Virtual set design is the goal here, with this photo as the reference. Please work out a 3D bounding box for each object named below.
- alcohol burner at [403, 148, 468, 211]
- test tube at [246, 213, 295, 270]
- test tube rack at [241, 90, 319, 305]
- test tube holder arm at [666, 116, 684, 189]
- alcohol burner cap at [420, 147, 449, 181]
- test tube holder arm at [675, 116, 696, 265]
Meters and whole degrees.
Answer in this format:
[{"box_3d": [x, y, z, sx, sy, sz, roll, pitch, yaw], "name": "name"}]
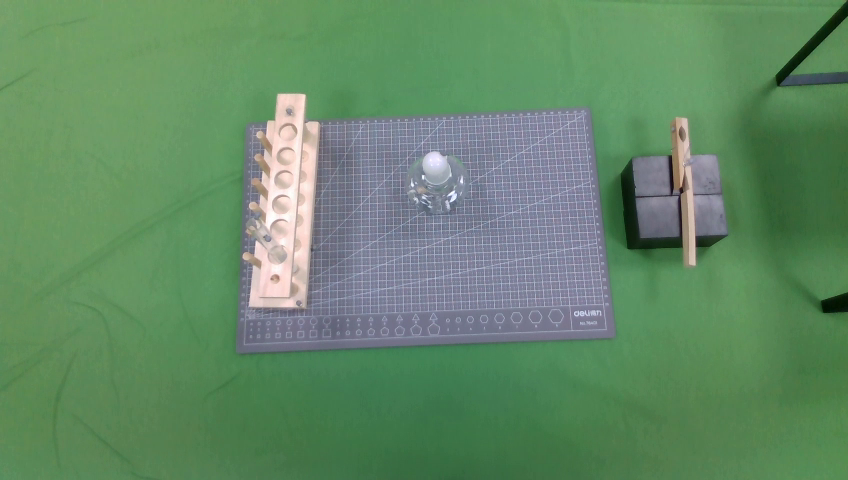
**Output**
[{"box_3d": [0.013, -0.077, 0.710, 0.078, 0.119, 0.077, -1, 77, 3], "name": "alcohol burner"}, {"box_3d": [-0.164, 0.005, 0.656, 0.017, 0.151, 0.017, 0, 70, 2], "name": "test tube"}, {"box_3d": [-0.175, -0.049, 0.722, 0.067, 0.085, 0.241, 1, 76, 2], "name": "test tube rack"}, {"box_3d": [0.295, -0.103, 0.711, 0.010, 0.015, 0.087, 1, 76, -4], "name": "test tube holder arm"}, {"box_3d": [0.010, -0.087, 0.675, 0.034, 0.048, 0.033, -1, 81, 4], "name": "alcohol burner cap"}, {"box_3d": [0.301, -0.059, 0.701, 0.013, 0.015, 0.177, 1, 76, -4], "name": "test tube holder arm"}]
